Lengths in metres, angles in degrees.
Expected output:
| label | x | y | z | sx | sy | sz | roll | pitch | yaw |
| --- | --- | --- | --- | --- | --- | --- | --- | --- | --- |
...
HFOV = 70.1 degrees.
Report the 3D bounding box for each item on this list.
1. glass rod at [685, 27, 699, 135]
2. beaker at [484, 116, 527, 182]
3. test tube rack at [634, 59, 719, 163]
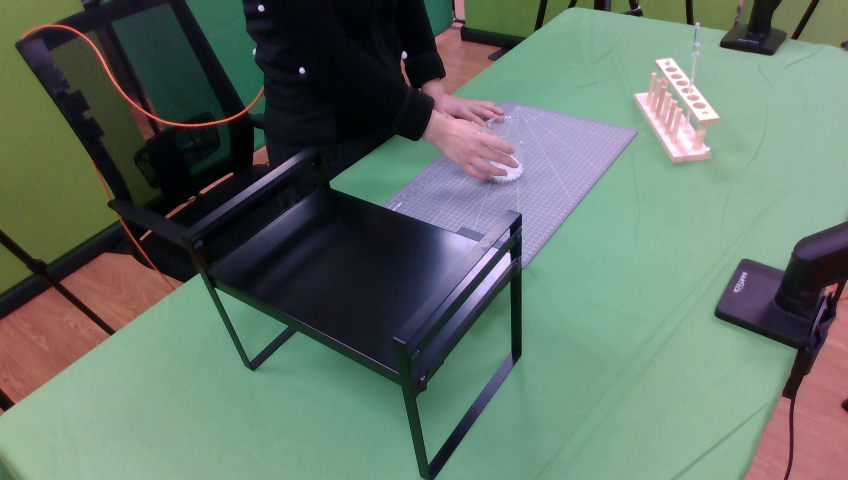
| label | x | y | z | sx | sy | sz | roll | pitch | yaw |
| --- | --- | --- | --- | --- | --- | --- | --- | --- | --- |
| glass rod | 0.478 | -0.279 | 1.078 | 0.008 | 0.200 | 0.008 | -7 | 34 | 5 |
| beaker | 0.146 | -0.162 | 1.079 | 0.073 | 0.100 | 0.084 | 14 | 44 | 22 |
| test tube rack | 0.470 | -0.250 | 1.148 | 0.067 | 0.085 | 0.241 | -6 | 40 | 3 |
